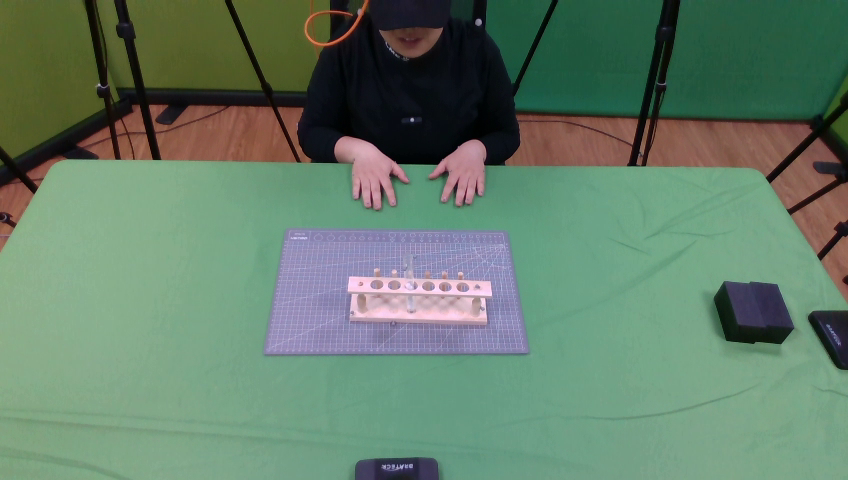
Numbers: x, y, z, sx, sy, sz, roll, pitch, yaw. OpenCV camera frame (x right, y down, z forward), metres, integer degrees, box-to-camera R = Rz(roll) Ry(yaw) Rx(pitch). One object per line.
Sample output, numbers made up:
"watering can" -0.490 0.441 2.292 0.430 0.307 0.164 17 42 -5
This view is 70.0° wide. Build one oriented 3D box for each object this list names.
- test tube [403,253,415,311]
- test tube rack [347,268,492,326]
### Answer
"test tube" -0.025 0.073 1.010 0.017 0.151 0.017 -1 49 1
"test tube rack" -0.009 0.095 1.059 0.242 0.085 0.066 2 46 -2
